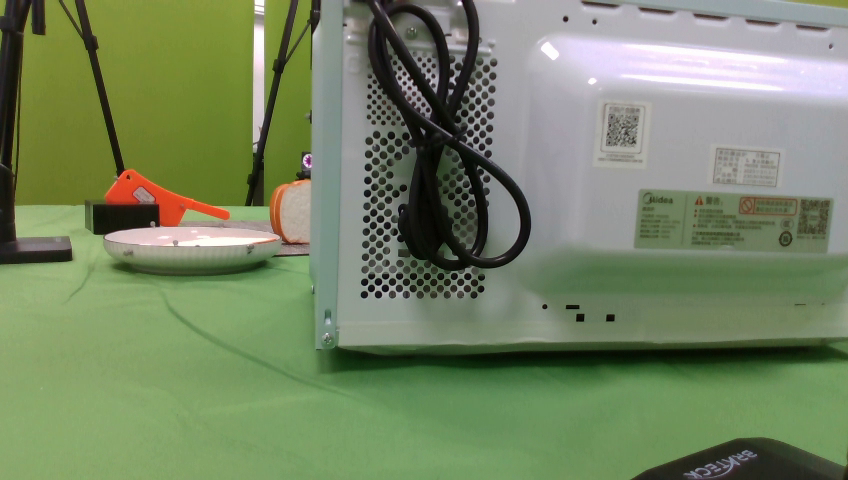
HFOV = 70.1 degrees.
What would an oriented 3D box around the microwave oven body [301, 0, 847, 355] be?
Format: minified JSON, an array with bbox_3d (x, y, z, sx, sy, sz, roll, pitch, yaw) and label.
[{"bbox_3d":[0.120,-0.053,0.535,0.443,0.260,0.325,2,7,-11],"label":"microwave oven body"}]

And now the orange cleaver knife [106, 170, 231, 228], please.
[{"bbox_3d":[-0.458,-0.060,1.097,0.212,0.077,0.012,23,-4,-38],"label":"orange cleaver knife"}]

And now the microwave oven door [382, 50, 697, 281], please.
[{"bbox_3d":[0.135,-0.077,0.685,0.357,0.243,0.039,1,8,-12],"label":"microwave oven door"}]

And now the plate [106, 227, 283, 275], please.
[{"bbox_3d":[-0.288,0.013,0.772,0.208,0.039,0.207,2,7,0],"label":"plate"}]

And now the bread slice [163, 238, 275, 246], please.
[{"bbox_3d":[-0.268,0.014,0.759,0.106,0.018,0.135,2,8,21],"label":"bread slice"}]

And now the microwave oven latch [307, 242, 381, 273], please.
[{"bbox_3d":[-0.086,0.019,0.656,0.079,0.029,0.030,2,7,-10],"label":"microwave oven latch"}]
